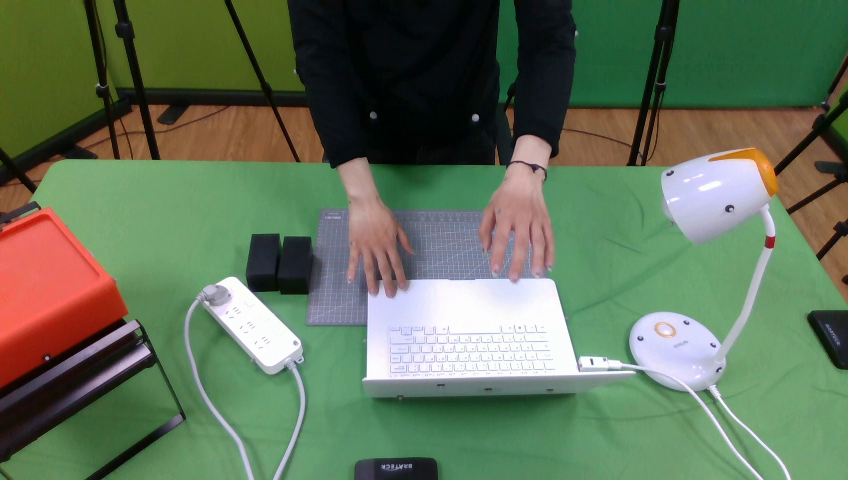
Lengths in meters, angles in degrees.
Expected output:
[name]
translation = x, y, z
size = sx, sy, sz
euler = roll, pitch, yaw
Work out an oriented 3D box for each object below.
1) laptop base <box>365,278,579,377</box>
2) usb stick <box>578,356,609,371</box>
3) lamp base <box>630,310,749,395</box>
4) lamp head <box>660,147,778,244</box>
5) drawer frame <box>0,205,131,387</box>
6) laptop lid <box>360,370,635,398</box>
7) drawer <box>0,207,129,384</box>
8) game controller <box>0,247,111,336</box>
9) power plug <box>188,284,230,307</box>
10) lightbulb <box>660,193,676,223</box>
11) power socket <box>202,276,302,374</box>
[laptop base]
translation = 0.077, 0.162, 1.053
size = 0.355, 0.023, 0.234
euler = 0, 44, -4
[usb stick]
translation = 0.274, 0.207, 1.007
size = 0.059, 0.027, 0.021
euler = 0, 52, 0
[lamp base]
translation = 0.447, 0.142, 0.984
size = 0.161, 0.181, 0.178
euler = -24, 55, -24
[lamp head]
translation = 0.389, -0.063, 0.785
size = 0.123, 0.113, 0.112
euler = -22, 33, 37
[drawer frame]
translation = -0.540, 0.075, 0.795
size = 0.200, 0.083, 0.213
euler = 36, 54, 26
[laptop lid]
translation = 0.090, 0.208, 0.863
size = 0.357, 0.242, 0.013
euler = 0, 71, -6
[drawer]
translation = -0.539, 0.074, 0.798
size = 0.193, 0.073, 0.211
euler = 37, 55, 27
[game controller]
translation = -0.511, 0.063, 0.831
size = 0.097, 0.052, 0.154
euler = -29, 57, -33
[power plug]
translation = -0.368, 0.100, 1.036
size = 0.072, 0.053, 0.035
euler = -26, 53, -24
[lightbulb]
translation = 0.369, -0.060, 0.808
size = 0.060, 0.107, 0.059
euler = 20, 58, -36
[power socket]
translation = -0.296, 0.141, 1.034
size = 0.072, 0.033, 0.225
euler = -34, 58, -31
